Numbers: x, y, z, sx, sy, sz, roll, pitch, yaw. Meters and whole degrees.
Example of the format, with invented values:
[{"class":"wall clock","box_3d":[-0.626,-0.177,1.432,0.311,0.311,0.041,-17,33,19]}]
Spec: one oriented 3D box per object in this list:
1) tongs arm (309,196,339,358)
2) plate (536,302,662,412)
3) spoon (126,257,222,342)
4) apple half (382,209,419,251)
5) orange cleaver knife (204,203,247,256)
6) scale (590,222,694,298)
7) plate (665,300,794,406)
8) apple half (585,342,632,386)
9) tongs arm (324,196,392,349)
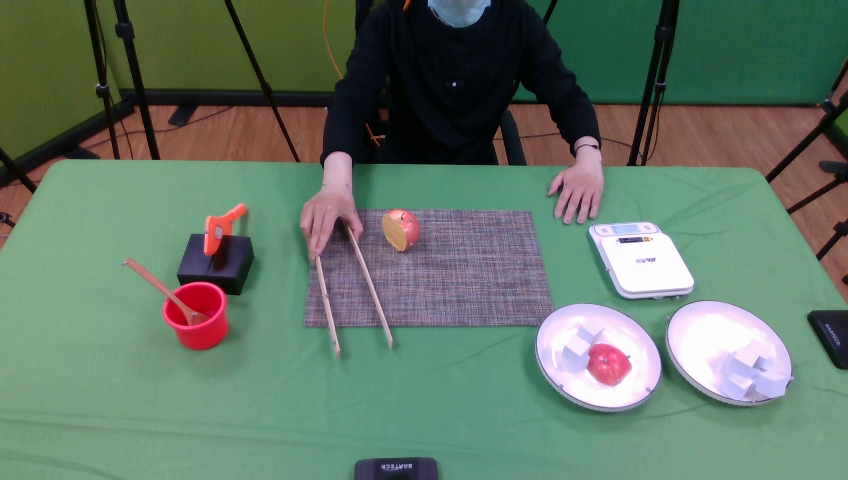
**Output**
[{"class":"tongs arm","box_3d":[-0.175,0.052,1.121,0.051,0.026,0.382,-9,47,-15]},{"class":"plate","box_3d":[0.288,0.197,1.016,0.209,0.038,0.208,2,46,-2]},{"class":"spoon","box_3d":[-0.408,0.096,0.990,0.194,0.021,0.041,50,53,-18]},{"class":"apple half","box_3d":[-0.039,-0.022,1.175,0.053,0.075,0.080,-27,49,-31]},{"class":"orange cleaver knife","box_3d":[-0.374,-0.024,1.146,0.012,0.077,0.211,4,14,1]},{"class":"scale","box_3d":[0.424,0.031,1.189,0.149,0.032,0.199,-3,46,-7]},{"class":"plate","box_3d":[0.513,0.194,1.034,0.208,0.039,0.206,2,46,-2]},{"class":"apple half","box_3d":[0.309,0.198,1.008,0.081,0.033,0.081,4,48,-4]},{"class":"tongs arm","box_3d":[-0.126,0.046,1.136,0.028,0.028,0.385,-14,49,-16]}]
